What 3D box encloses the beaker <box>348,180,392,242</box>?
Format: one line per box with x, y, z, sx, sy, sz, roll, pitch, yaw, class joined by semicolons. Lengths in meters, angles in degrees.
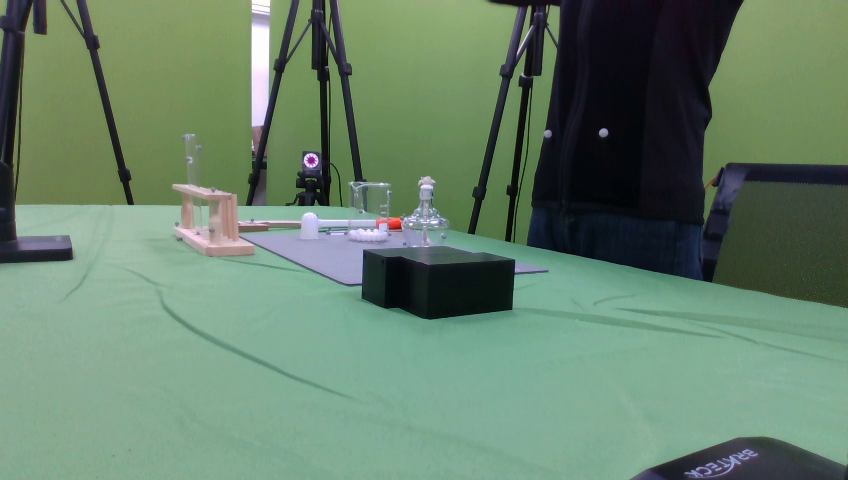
-0.095;-0.049;1.027;0.074;0.100;0.084;5;9;25;beaker

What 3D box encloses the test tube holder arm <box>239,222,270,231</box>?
-0.321;-0.024;1.100;0.088;0.015;0.010;-5;44;-49;test tube holder arm

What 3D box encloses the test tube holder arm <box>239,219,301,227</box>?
-0.296;-0.030;1.137;0.179;0.015;0.013;-6;45;-50;test tube holder arm

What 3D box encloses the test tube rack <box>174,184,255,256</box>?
-0.327;-0.036;0.928;0.067;0.085;0.241;-2;9;-32;test tube rack

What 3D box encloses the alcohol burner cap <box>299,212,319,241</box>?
-0.195;-0.024;1.025;0.034;0.048;0.034;3;7;0;alcohol burner cap

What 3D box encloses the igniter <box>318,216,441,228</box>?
-0.090;-0.035;1.222;0.278;0.025;0.057;-2;-1;-31;igniter

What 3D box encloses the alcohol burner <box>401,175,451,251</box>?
0.004;-0.042;0.947;0.078;0.119;0.078;1;9;0;alcohol burner

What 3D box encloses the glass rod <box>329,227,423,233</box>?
-0.087;-0.019;1.148;0.201;0.008;0.008;-3;8;-32;glass rod

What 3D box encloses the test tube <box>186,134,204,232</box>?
-0.350;-0.086;0.925;0.017;0.150;0.017;-2;7;1;test tube
